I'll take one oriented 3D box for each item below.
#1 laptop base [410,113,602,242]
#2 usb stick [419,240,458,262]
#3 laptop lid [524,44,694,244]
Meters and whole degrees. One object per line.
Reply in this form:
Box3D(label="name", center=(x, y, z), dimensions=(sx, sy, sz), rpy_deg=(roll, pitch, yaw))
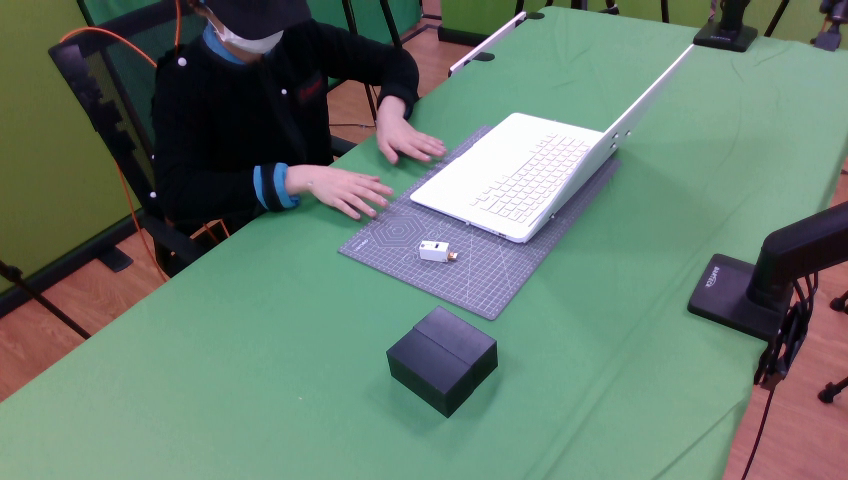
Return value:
Box3D(label="laptop base", center=(0.171, -0.127, 1.096), dimensions=(0.233, 0.023, 0.355), rpy_deg=(21, 47, 34))
Box3D(label="usb stick", center=(0.023, 0.018, 0.936), dimensions=(0.059, 0.027, 0.021), rpy_deg=(9, 42, 14))
Box3D(label="laptop lid", center=(0.290, -0.151, 0.941), dimensions=(0.013, 0.241, 0.358), rpy_deg=(40, 54, 12))
